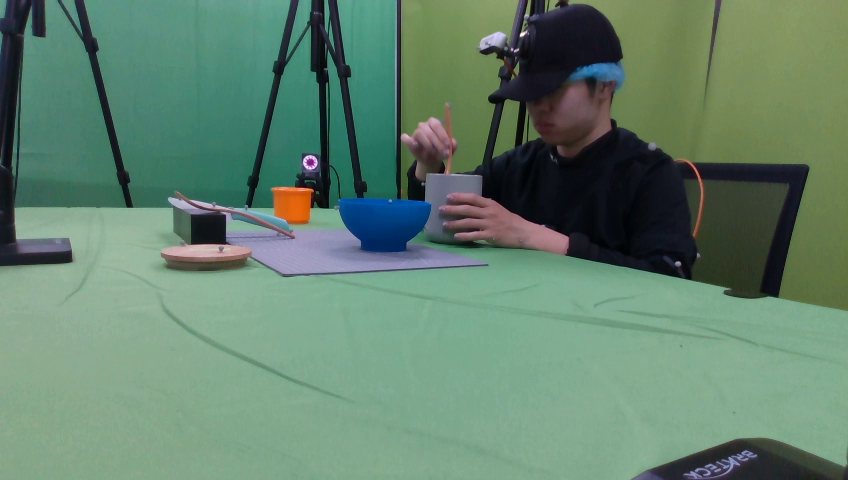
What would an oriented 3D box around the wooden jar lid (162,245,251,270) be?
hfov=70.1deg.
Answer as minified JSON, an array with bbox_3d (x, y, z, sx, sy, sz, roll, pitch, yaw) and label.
[{"bbox_3d":[-0.278,0.022,0.777,0.108,0.020,0.108,2,6,0],"label":"wooden jar lid"}]

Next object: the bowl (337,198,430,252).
[{"bbox_3d":[-0.066,-0.024,0.967,0.151,0.077,0.151,3,7,0],"label":"bowl"}]

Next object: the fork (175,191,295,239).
[{"bbox_3d":[-0.305,-0.039,0.993,0.208,0.018,0.028,19,-9,-34],"label":"fork"}]

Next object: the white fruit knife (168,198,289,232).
[{"bbox_3d":[-0.329,-0.044,1.036,0.208,0.027,0.016,14,-1,-32],"label":"white fruit knife"}]

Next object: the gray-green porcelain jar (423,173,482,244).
[{"bbox_3d":[0.052,-0.059,1.116,0.106,0.126,0.106,2,7,0],"label":"gray-green porcelain jar"}]

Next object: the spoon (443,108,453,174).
[{"bbox_3d":[0.041,-0.143,1.099,0.022,0.193,0.041,7,-2,-19],"label":"spoon"}]
